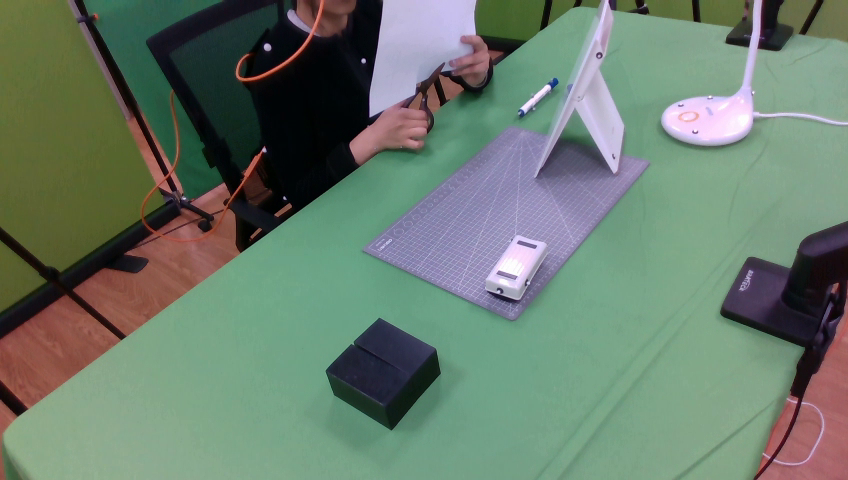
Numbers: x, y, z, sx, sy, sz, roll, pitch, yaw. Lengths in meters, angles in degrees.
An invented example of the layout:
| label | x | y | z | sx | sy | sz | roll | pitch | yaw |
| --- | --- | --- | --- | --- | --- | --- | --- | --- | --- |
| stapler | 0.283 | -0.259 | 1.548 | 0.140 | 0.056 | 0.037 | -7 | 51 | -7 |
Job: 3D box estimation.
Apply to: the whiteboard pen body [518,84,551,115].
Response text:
| label | x | y | z | sx | sy | sz | roll | pitch | yaw |
| --- | --- | --- | --- | --- | --- | --- | --- | --- | --- |
| whiteboard pen body | 0.242 | -0.306 | 1.290 | 0.017 | 0.017 | 0.141 | 24 | 52 | 33 |

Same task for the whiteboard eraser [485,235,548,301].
| label | x | y | z | sx | sy | sz | roll | pitch | yaw |
| --- | --- | --- | --- | --- | --- | --- | --- | --- | --- |
| whiteboard eraser | 0.137 | 0.042 | 0.887 | 0.055 | 0.042 | 0.113 | 15 | 45 | 27 |

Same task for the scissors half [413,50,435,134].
| label | x | y | z | sx | sy | sz | roll | pitch | yaw |
| --- | --- | --- | --- | --- | --- | --- | --- | --- | --- |
| scissors half | 0.006 | -0.283 | 1.169 | 0.040 | 0.175 | 0.013 | 22 | 40 | 17 |

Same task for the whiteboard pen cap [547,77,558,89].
| label | x | y | z | sx | sy | sz | roll | pitch | yaw |
| --- | --- | --- | --- | --- | --- | --- | --- | --- | --- |
| whiteboard pen cap | 0.279 | -0.341 | 1.321 | 0.018 | 0.018 | 0.033 | 22 | 51 | 31 |

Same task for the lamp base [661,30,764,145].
| label | x | y | z | sx | sy | sz | roll | pitch | yaw |
| --- | --- | --- | --- | --- | --- | --- | --- | --- | --- |
| lamp base | 0.535 | -0.287 | 1.096 | 0.179 | 0.181 | 0.159 | -10 | 40 | -4 |

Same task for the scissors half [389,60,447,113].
| label | x | y | z | sx | sy | sz | roll | pitch | yaw |
| --- | --- | --- | --- | --- | --- | --- | --- | --- | --- |
| scissors half | -0.013 | -0.299 | 1.171 | 0.174 | 0.040 | 0.013 | -26 | 11 | 42 |

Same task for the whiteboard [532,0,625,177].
| label | x | y | z | sx | sy | sz | roll | pitch | yaw |
| --- | --- | --- | --- | --- | --- | --- | --- | --- | --- |
| whiteboard | 0.320 | -0.259 | 1.050 | 0.144 | 0.306 | 0.217 | 21 | 45 | 5 |
